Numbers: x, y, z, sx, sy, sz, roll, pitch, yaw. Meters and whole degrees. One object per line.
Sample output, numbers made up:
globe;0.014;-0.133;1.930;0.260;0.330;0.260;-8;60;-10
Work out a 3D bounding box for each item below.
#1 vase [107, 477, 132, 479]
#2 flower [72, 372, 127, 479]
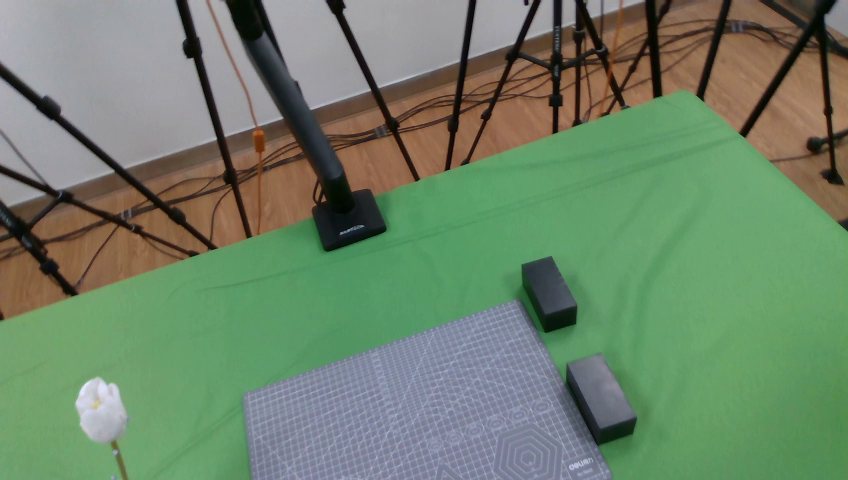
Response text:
vase;-0.311;0.340;0.695;0.098;0.202;0.097;-4;49;5
flower;-0.309;0.276;0.641;0.038;0.364;0.043;-20;42;-31
